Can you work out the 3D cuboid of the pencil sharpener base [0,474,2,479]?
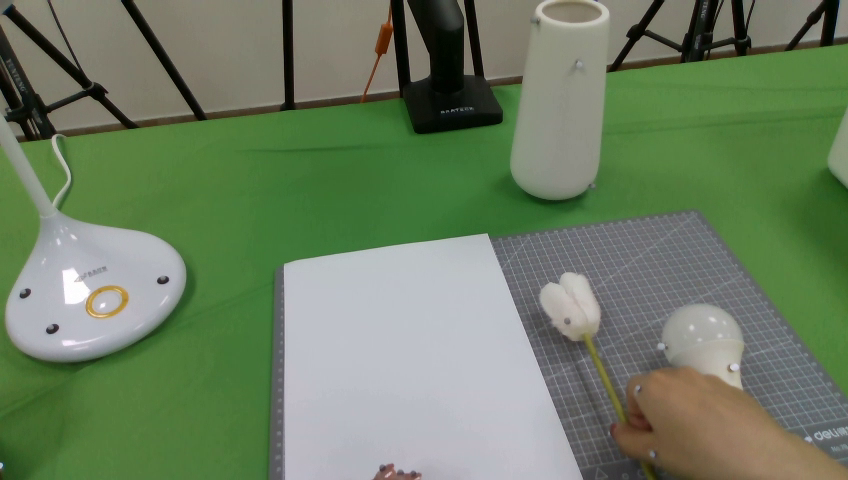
[{"bbox_3d":[-0.352,0.140,0.416,0.061,0.108,0.076,-29,48,-26],"label":"pencil sharpener base"}]

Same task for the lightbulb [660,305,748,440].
[{"bbox_3d":[0.223,0.102,0.473,0.059,0.060,0.106,-5,57,-2],"label":"lightbulb"}]

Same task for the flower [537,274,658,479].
[{"bbox_3d":[0.156,0.162,0.424,0.044,0.038,0.357,-16,45,-1],"label":"flower"}]

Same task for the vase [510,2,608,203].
[{"bbox_3d":[0.142,-0.138,0.636,0.098,0.202,0.097,-2,41,2],"label":"vase"}]

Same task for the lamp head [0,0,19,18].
[{"bbox_3d":[-0.278,-0.166,0.293,0.123,0.112,0.112,48,54,-3],"label":"lamp head"}]

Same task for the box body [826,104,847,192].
[{"bbox_3d":[0.591,-0.045,0.538,0.254,0.162,0.360,-7,42,-4],"label":"box body"}]

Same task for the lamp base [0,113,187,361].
[{"bbox_3d":[-0.321,-0.012,0.531,0.177,0.182,0.160,28,50,32],"label":"lamp base"}]
